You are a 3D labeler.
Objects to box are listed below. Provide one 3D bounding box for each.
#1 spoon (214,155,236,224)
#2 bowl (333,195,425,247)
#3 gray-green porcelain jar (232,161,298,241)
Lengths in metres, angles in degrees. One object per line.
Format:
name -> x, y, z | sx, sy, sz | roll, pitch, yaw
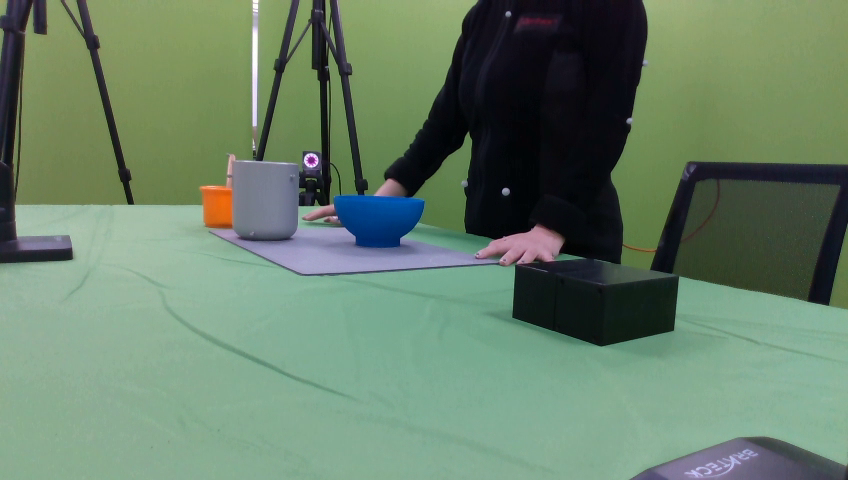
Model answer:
spoon -> -0.385, -0.104, 1.194 | 0.042, 0.193, 0.021 | 2, -37, -11
bowl -> -0.074, -0.031, 0.987 | 0.151, 0.077, 0.151 | 2, 7, 0
gray-green porcelain jar -> -0.262, -0.065, 0.999 | 0.106, 0.126, 0.106 | 3, 7, 0
